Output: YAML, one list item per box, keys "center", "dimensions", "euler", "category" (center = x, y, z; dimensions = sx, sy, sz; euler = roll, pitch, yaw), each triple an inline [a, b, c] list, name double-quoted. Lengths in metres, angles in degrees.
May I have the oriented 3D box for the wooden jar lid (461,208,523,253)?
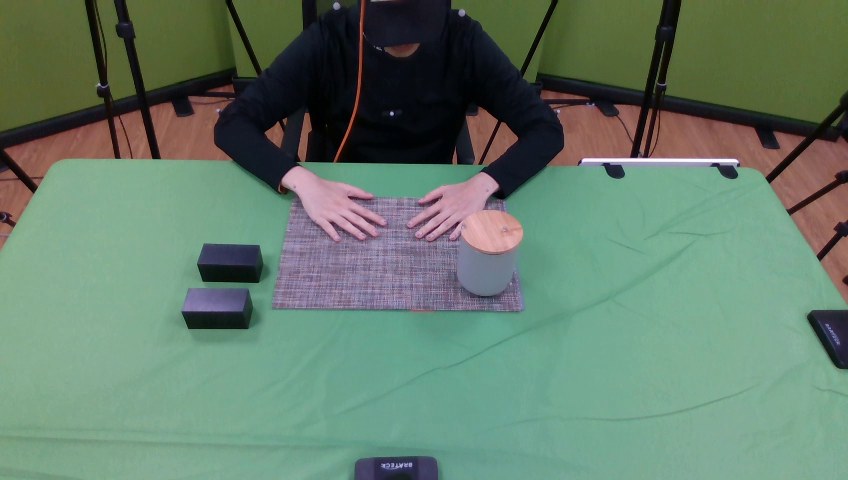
- center: [0.118, -0.013, 1.054]
  dimensions: [0.108, 0.021, 0.107]
  euler: [0, 44, 0]
  category: "wooden jar lid"

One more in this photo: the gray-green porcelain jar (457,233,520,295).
- center: [0.115, 0.030, 1.099]
  dimensions: [0.106, 0.127, 0.105]
  euler: [2, 47, -2]
  category: "gray-green porcelain jar"
